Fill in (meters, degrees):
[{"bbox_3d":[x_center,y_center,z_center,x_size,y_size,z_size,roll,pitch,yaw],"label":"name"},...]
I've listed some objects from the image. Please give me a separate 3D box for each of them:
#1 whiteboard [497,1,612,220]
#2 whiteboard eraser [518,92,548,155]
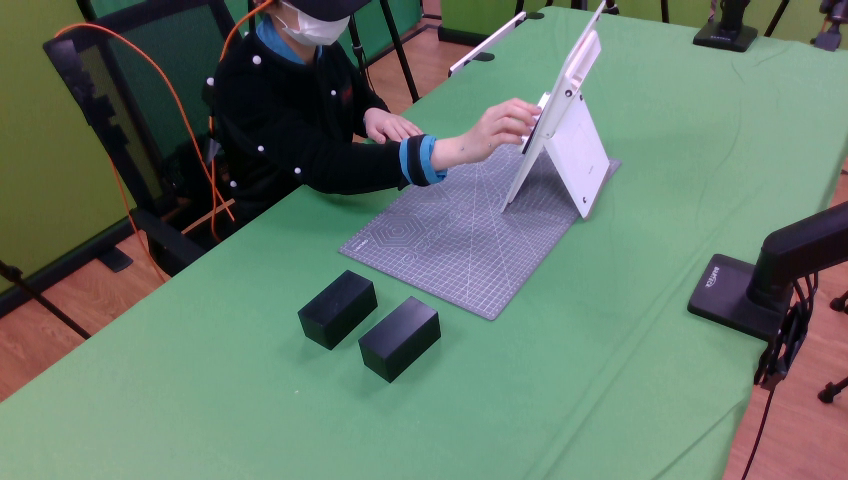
[{"bbox_3d":[0.259,-0.177,0.963,0.143,0.306,0.217,28,48,9],"label":"whiteboard"},{"bbox_3d":[0.169,-0.177,0.918,0.019,0.041,0.101,24,86,8],"label":"whiteboard eraser"}]
